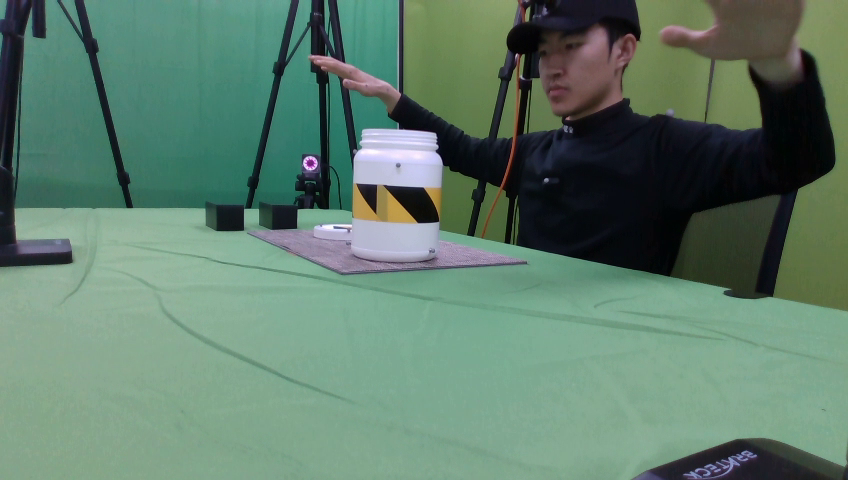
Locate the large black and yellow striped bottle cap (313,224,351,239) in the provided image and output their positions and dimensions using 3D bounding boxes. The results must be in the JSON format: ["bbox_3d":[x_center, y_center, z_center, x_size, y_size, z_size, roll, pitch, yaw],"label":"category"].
[{"bbox_3d":[-0.145,-0.016,1.108,0.115,0.019,0.115,3,6,0],"label":"large black and yellow striped bottle cap"}]

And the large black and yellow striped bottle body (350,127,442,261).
[{"bbox_3d":[-0.040,-0.068,0.881,0.131,0.184,0.130,2,7,0],"label":"large black and yellow striped bottle body"}]
